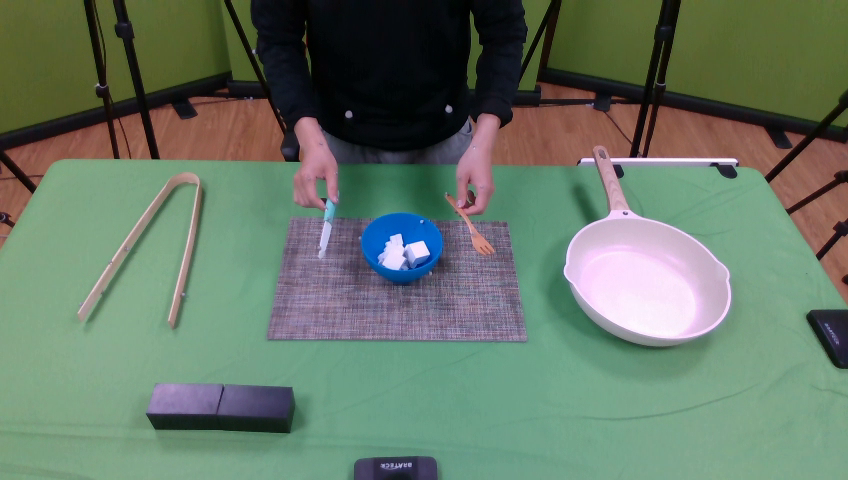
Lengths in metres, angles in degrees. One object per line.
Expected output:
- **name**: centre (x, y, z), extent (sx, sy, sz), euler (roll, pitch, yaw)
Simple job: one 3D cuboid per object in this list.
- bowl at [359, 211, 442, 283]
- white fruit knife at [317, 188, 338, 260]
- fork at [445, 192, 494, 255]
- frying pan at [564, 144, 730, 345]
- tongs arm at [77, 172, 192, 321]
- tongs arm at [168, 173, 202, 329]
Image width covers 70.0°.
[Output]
- **bowl**: centre (-0.044, 0.026, 1.124), extent (0.151, 0.077, 0.150), euler (2, 46, -2)
- **white fruit knife**: centre (-0.173, -0.033, 1.080), extent (0.016, 0.027, 0.206), euler (-18, 36, 13)
- **fork**: centre (0.079, -0.034, 1.113), extent (0.028, 0.019, 0.206), euler (-29, 44, -1)
- **frying pan**: centre (0.396, -0.008, 1.179), extent (0.307, 0.103, 0.484), euler (0, 55, -5)
- **tongs arm**: centre (-0.535, -0.002, 1.147), extent (0.051, 0.026, 0.382), euler (7, 45, 1)
- **tongs arm**: centre (-0.454, 0.006, 1.153), extent (0.028, 0.028, 0.385), euler (-5, 47, -6)
